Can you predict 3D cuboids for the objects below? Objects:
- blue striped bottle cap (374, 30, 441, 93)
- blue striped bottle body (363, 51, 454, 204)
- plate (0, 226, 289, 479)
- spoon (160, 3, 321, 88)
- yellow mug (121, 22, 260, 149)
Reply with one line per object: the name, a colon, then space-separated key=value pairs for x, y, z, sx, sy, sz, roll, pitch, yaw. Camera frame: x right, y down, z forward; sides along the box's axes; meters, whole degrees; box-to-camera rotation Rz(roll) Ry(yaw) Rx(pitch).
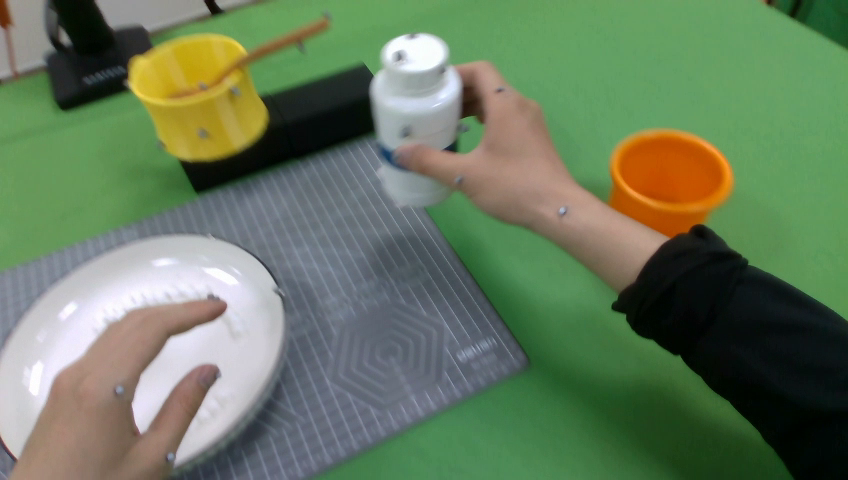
blue striped bottle cap: x=-0.011 y=-0.119 z=0.402 sx=0.044 sy=0.021 sz=0.044 roll=-3 pitch=54 yaw=4
blue striped bottle body: x=-0.009 y=-0.088 z=0.442 sx=0.063 sy=0.122 sz=0.062 roll=-1 pitch=53 yaw=2
plate: x=-0.202 y=0.080 z=0.450 sx=0.207 sy=0.039 sz=0.205 roll=-1 pitch=52 yaw=2
spoon: x=-0.162 y=-0.155 z=0.508 sx=0.193 sy=0.022 sz=0.041 roll=-19 pitch=42 yaw=32
yellow mug: x=-0.219 y=-0.143 z=0.545 sx=0.130 sy=0.064 sz=0.099 roll=17 pitch=55 yaw=18
